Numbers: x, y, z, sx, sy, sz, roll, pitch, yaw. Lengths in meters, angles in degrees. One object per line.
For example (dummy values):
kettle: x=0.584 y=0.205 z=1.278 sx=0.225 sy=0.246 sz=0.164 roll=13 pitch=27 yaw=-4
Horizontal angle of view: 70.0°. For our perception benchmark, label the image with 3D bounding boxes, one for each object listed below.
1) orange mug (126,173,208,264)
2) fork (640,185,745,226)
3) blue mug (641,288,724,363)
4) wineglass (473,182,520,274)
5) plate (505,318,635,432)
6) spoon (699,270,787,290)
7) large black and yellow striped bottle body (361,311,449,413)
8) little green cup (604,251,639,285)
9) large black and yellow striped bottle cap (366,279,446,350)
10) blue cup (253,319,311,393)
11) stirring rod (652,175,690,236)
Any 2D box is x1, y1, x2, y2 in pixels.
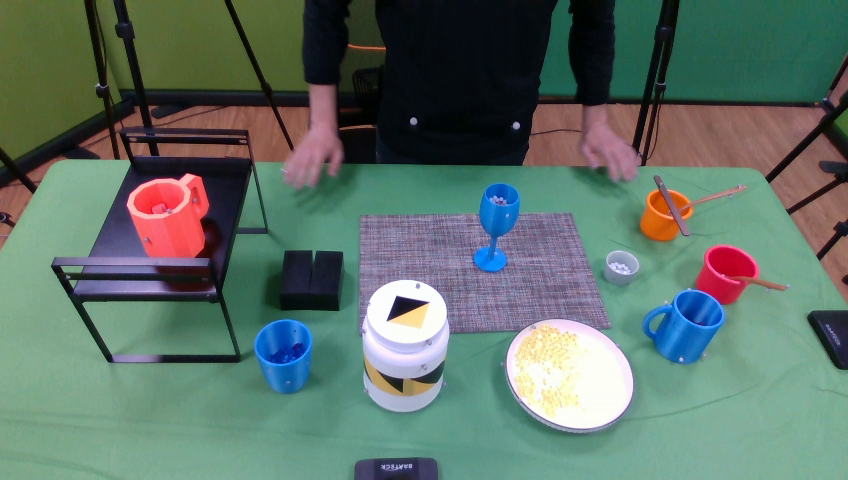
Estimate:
orange mug: x=-0.371 y=-0.040 z=0.902 sx=0.083 sy=0.101 sz=0.126 roll=18 pitch=52 yaw=13
fork: x=0.534 y=-0.069 z=1.215 sx=0.207 sy=0.019 sz=0.028 roll=-26 pitch=27 yaw=33
blue mug: x=0.432 y=0.144 z=1.033 sx=0.116 sy=0.106 sz=0.082 roll=8 pitch=46 yaw=5
wineglass: x=0.131 y=-0.022 z=1.117 sx=0.074 sy=0.173 sz=0.073 roll=2 pitch=46 yaw=-2
plate: x=0.235 y=0.221 z=0.991 sx=0.209 sy=0.038 sz=0.208 roll=2 pitch=45 yaw=-2
spoon: x=0.567 y=0.071 z=1.087 sx=0.042 sy=0.193 sz=0.021 roll=-12 pitch=94 yaw=-13
large black and yellow striped bottle body: x=-0.031 y=0.163 z=0.924 sx=0.131 sy=0.185 sz=0.130 roll=2 pitch=46 yaw=-2
little green cup: x=0.375 y=0.055 z=1.162 sx=0.061 sy=0.039 sz=0.061 roll=2 pitch=45 yaw=-2
large black and yellow striped bottle cap: x=-0.025 y=0.104 z=0.864 sx=0.115 sy=0.019 sz=0.114 roll=3 pitch=48 yaw=-3
blue cup: x=-0.217 y=0.187 z=0.943 sx=0.093 sy=0.101 sz=0.092 roll=3 pitch=45 yaw=-3
stirring rod: x=0.492 y=-0.072 z=1.211 sx=0.014 sy=0.006 sz=0.175 roll=-1 pitch=46 yaw=-6
